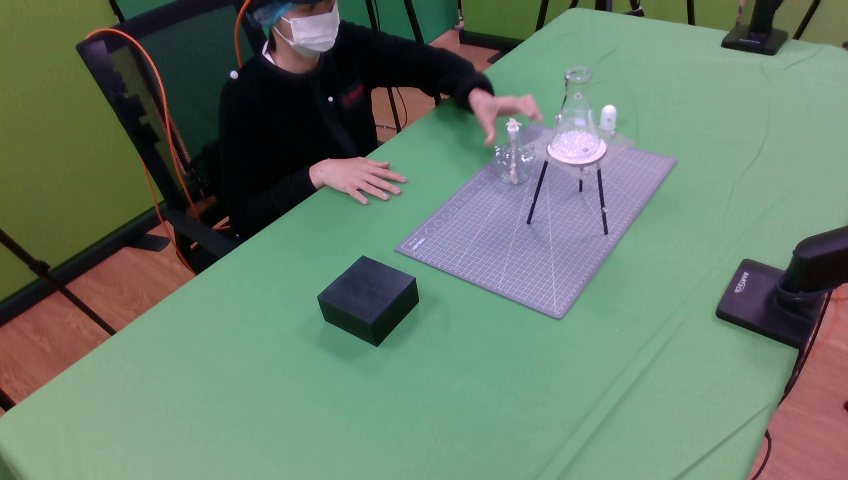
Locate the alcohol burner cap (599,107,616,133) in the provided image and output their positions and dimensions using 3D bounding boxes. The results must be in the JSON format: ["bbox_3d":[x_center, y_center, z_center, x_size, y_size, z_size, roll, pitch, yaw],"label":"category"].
[{"bbox_3d":[0.361,-0.238,1.189,0.034,0.048,0.033,-4,40,4],"label":"alcohol burner cap"}]

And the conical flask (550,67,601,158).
[{"bbox_3d":[0.221,-0.186,0.875,0.075,0.122,0.075,-5,40,5],"label":"conical flask"}]

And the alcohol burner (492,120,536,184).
[{"bbox_3d":[0.159,-0.158,1.064,0.078,0.119,0.077,-3,41,3],"label":"alcohol burner"}]

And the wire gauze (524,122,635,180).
[{"bbox_3d":[0.233,-0.142,0.913,0.122,0.011,0.124,-31,42,-26],"label":"wire gauze"}]

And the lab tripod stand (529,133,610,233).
[{"bbox_3d":[0.236,-0.089,0.953,0.148,0.132,0.147,-5,42,5],"label":"lab tripod stand"}]
